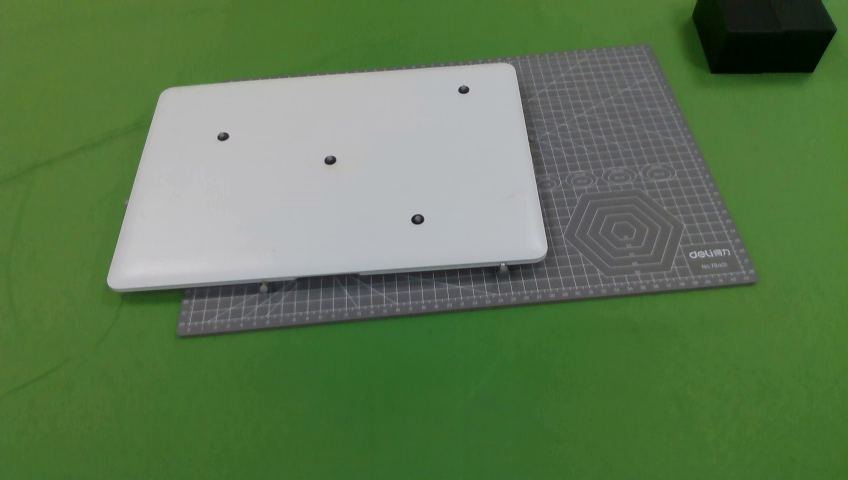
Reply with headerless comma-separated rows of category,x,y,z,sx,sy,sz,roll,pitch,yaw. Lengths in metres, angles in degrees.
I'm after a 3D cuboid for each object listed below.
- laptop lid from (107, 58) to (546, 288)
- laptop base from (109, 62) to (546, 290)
laptop lid,-0.083,-0.071,0.536,0.357,0.013,0.239,-3,57,2
laptop base,-0.083,-0.065,0.547,0.354,0.023,0.233,-4,58,1
